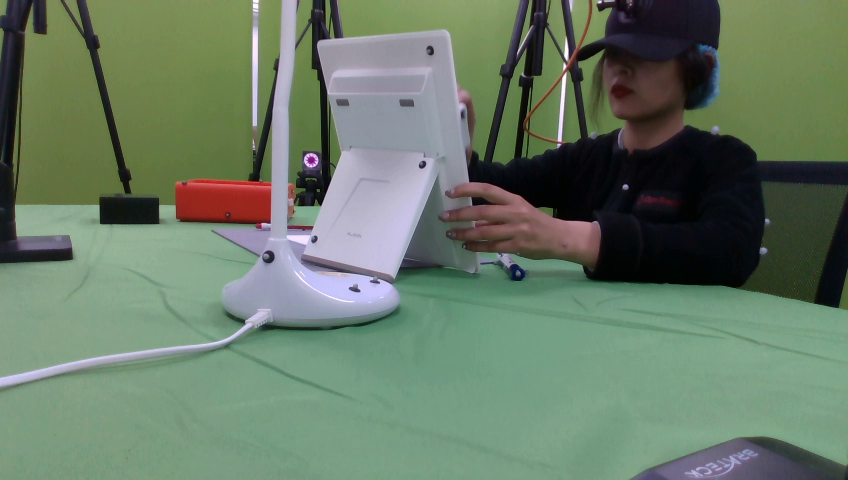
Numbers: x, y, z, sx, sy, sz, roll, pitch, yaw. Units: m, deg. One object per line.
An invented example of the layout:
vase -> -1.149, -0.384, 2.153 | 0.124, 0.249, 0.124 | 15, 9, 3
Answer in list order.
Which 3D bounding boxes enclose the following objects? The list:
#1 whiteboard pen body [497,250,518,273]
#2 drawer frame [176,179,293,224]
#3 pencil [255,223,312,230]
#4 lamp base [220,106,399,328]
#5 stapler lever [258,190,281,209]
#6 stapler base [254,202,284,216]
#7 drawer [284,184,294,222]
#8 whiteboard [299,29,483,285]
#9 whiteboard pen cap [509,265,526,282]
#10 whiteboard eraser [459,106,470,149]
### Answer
whiteboard pen body -> 0.115, 0.032, 0.810 | 0.017, 0.017, 0.140 | 2, 9, -2
drawer frame -> -0.395, -0.086, 1.299 | 0.214, 0.082, 0.201 | 1, 8, -9
pencil -> -0.216, -0.023, 1.134 | 0.195, 0.012, 0.012 | 1, 7, -21
lamp base -> -0.102, -0.023, 0.531 | 0.160, 0.180, 0.179 | 4, 10, 10
stapler lever -> -0.333, -0.091, 1.305 | 0.027, 0.040, 0.118 | 6, 9, -2
stapler base -> -0.334, -0.069, 1.307 | 0.041, 0.024, 0.130 | 6, 6, -2
drawer -> -0.391, -0.084, 1.301 | 0.212, 0.073, 0.194 | 1, 8, -8
whiteboard -> -0.074, -0.081, 0.738 | 0.216, 0.305, 0.144 | 11, 32, 39
whiteboard pen cap -> 0.116, 0.040, 0.752 | 0.018, 0.018, 0.033 | 2, 10, -2
whiteboard eraser -> 0.004, -0.142, 0.756 | 0.112, 0.055, 0.042 | 16, 34, 38
